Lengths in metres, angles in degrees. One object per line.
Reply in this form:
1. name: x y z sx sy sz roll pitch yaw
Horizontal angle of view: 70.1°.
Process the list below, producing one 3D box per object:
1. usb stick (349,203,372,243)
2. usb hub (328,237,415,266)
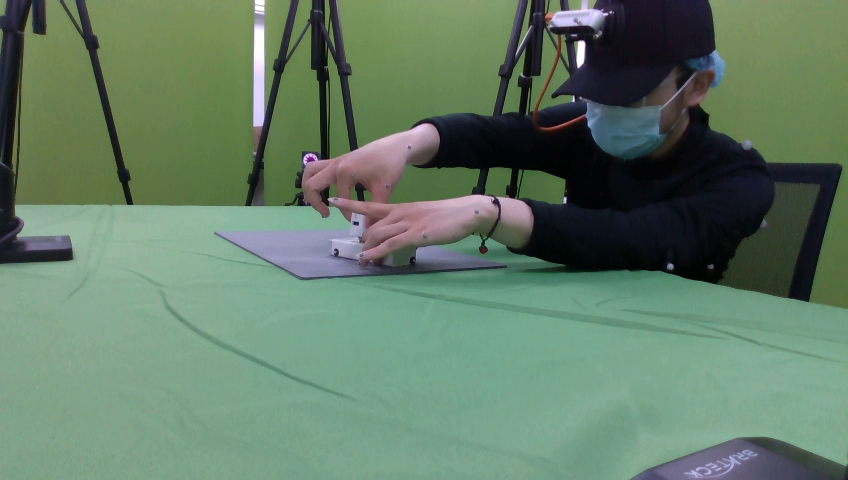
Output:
1. usb stick: -0.087 -0.022 0.828 0.021 0.059 0.027 8 10 29
2. usb hub: -0.074 0.015 0.837 0.124 0.025 0.050 7 8 39
